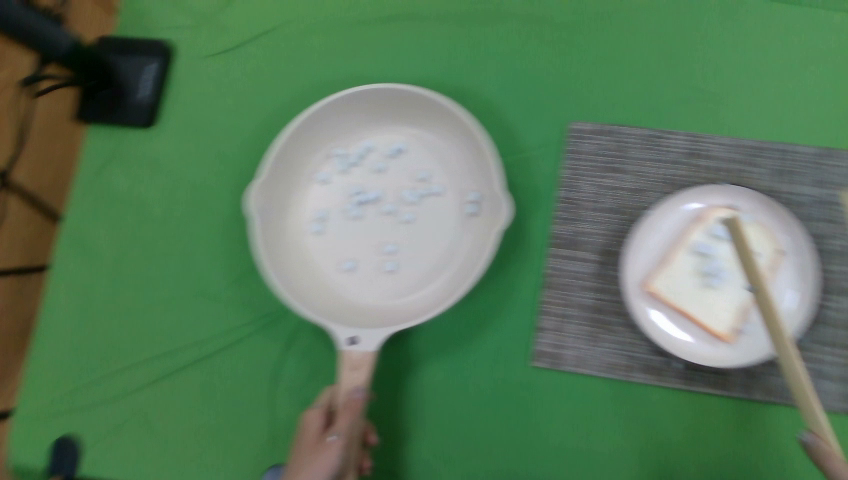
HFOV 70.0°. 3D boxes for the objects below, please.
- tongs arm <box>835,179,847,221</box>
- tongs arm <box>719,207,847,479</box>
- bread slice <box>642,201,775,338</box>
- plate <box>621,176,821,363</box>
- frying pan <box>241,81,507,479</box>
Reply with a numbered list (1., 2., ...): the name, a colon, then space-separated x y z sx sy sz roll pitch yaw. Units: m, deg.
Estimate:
1. tongs arm: 0.414 0.132 0.531 0.051 0.026 0.383 -11 79 -6
2. tongs arm: 0.349 0.148 0.526 0.028 0.028 0.385 -19 79 -10
3. bread slice: 0.322 0.025 0.680 0.106 0.018 0.134 31 87 10
4. plate: 0.324 0.033 0.677 0.207 0.039 0.207 -1 80 6
5. frying pan: -0.067 0.059 0.685 0.306 0.103 0.485 3 72 8
